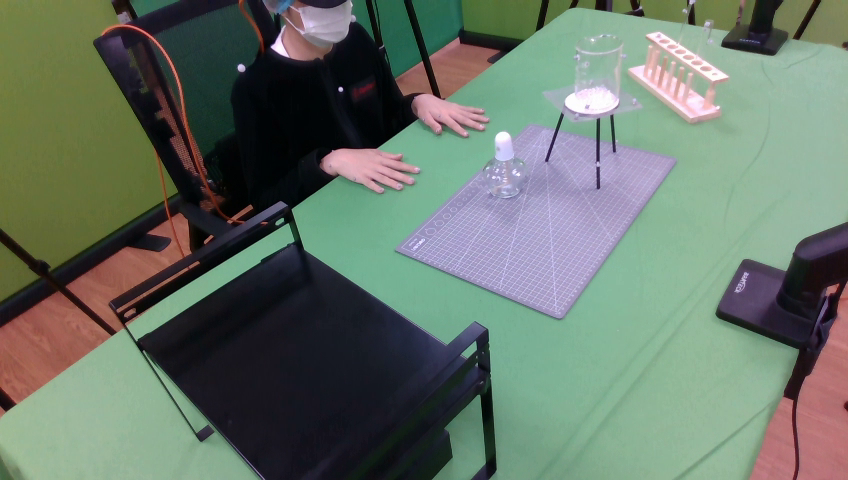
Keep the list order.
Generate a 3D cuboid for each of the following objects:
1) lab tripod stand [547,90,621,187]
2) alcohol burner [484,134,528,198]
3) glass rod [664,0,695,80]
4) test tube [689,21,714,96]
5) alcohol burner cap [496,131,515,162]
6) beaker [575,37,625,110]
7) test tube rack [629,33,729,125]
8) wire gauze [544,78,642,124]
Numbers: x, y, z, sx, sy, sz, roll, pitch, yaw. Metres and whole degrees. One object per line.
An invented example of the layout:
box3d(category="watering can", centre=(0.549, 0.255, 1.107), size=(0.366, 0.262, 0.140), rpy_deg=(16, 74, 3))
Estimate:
box3d(category="lab tripod stand", centre=(0.289, -0.184, 1.062), size=(0.148, 0.132, 0.147), rpy_deg=(-6, 41, 6))
box3d(category="alcohol burner", centre=(0.141, -0.133, 1.041), size=(0.078, 0.119, 0.077), rpy_deg=(-5, 43, 5))
box3d(category="glass rod", centre=(0.523, -0.415, 1.235), size=(0.008, 0.200, 0.008), rpy_deg=(1, 46, 0))
box3d(category="test tube", centre=(0.541, -0.353, 1.184), size=(0.017, 0.151, 0.017), rpy_deg=(-2, 40, 2))
box3d(category="alcohol burner cap", centre=(0.135, -0.160, 1.019), size=(0.034, 0.048, 0.033), rpy_deg=(-8, 37, 7))
box3d(category="beaker", centre=(0.283, -0.271, 0.988), size=(0.074, 0.101, 0.083), rpy_deg=(-10, 39, 1))
box3d(category="test tube rack", centre=(0.516, -0.337, 1.248), size=(0.067, 0.085, 0.240), rpy_deg=(-14, 41, -7))
box3d(category="wire gauze", centre=(0.282, -0.234, 1.022), size=(0.125, 0.011, 0.120), rpy_deg=(-17, 38, -4))
